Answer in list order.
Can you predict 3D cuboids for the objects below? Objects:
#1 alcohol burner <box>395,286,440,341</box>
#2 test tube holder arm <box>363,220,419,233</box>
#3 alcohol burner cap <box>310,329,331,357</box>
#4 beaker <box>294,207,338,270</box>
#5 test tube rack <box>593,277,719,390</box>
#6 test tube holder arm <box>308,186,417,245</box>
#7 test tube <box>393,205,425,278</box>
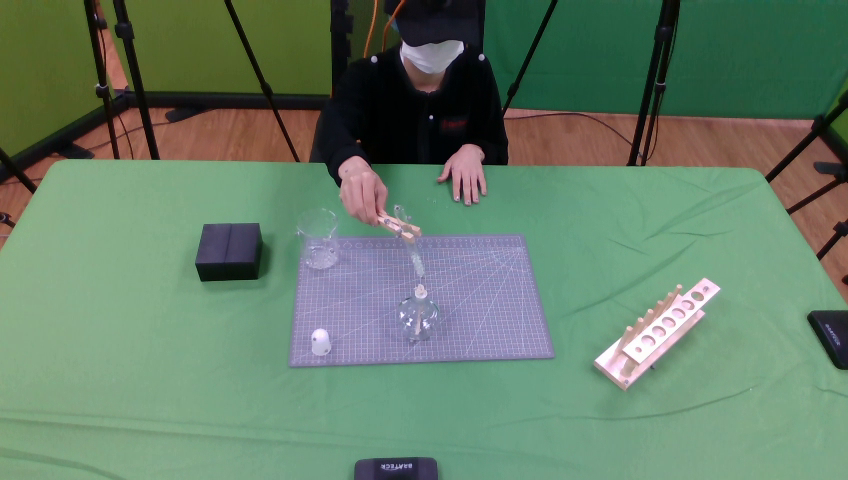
[{"bbox_3d":[-0.010,0.116,1.018,0.078,0.119,0.077,3,47,-3],"label":"alcohol burner"},{"bbox_3d":[-0.051,-0.020,0.915,0.088,0.010,0.015,-4,28,14],"label":"test tube holder arm"},{"bbox_3d":[-0.173,0.168,1.005,0.034,0.048,0.033,2,46,-2],"label":"alcohol burner cap"},{"bbox_3d":[-0.196,0.003,1.123,0.074,0.101,0.083,-23,53,-24],"label":"beaker"},{"bbox_3d":[0.401,0.148,1.043,0.242,0.085,0.066,-30,55,-29],"label":"test tube rack"},{"bbox_3d":[-0.092,-0.037,0.913,0.178,0.013,0.015,27,33,-5],"label":"test tube holder arm"},{"bbox_3d":[-0.021,0.005,0.932,0.017,0.151,0.017,-9,43,9],"label":"test tube"}]
